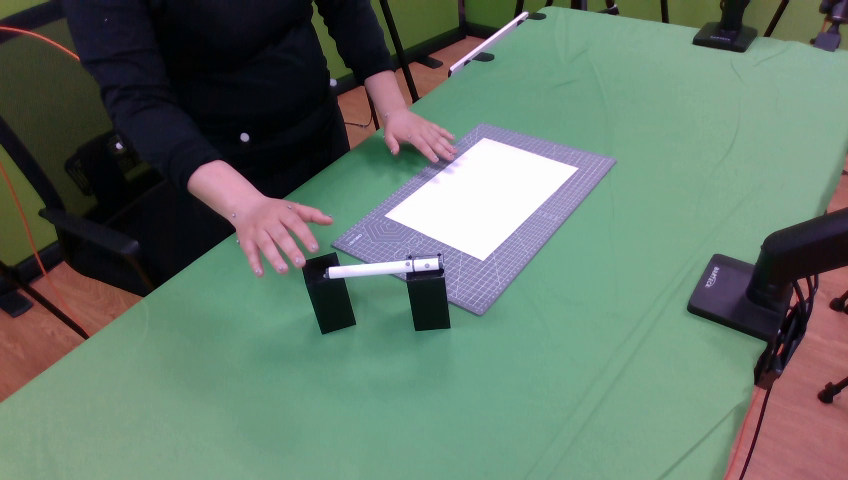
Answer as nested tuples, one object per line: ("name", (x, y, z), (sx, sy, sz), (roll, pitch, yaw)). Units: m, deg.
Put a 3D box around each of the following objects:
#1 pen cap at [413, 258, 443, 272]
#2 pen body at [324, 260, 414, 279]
("pen cap", (0.005, 0.031, 0.781), (0.038, 0.017, 0.017), (-5, 40, 3))
("pen body", (-0.058, 0.037, 0.785), (0.144, 0.017, 0.017), (-5, 40, 4))
